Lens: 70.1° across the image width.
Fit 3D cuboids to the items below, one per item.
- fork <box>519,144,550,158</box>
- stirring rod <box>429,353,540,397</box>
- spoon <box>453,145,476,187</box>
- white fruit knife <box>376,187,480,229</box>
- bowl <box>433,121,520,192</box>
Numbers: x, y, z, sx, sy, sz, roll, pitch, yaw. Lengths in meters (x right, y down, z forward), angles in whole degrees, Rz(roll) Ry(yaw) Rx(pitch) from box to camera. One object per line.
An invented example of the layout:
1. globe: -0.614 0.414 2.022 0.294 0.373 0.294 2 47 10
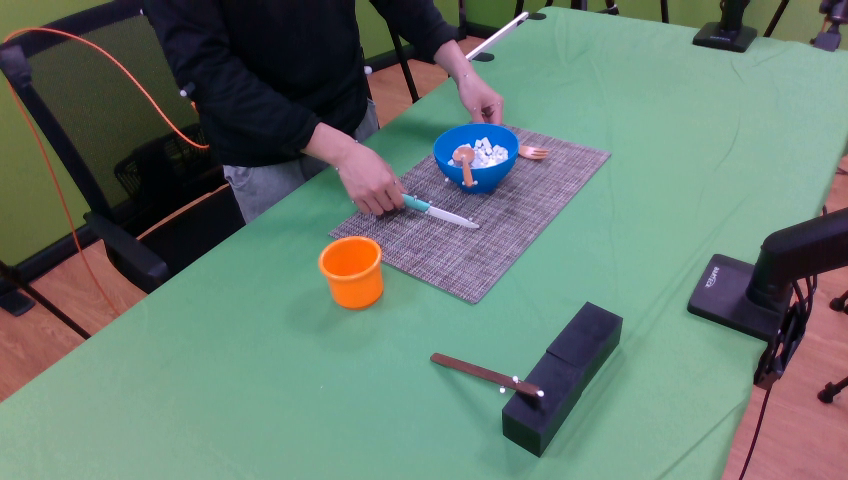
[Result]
1. fork: 0.143 -0.189 1.158 0.206 0.019 0.028 22 65 25
2. stirring rod: 0.069 0.162 0.737 0.174 0.006 0.014 8 42 47
3. spoon: 0.069 -0.124 1.000 0.041 0.022 0.193 -9 21 6
4. white fruit knife: 0.003 -0.055 1.019 0.206 0.027 0.016 20 52 24
5. bowl: 0.094 -0.137 1.064 0.151 0.077 0.150 -4 41 4
